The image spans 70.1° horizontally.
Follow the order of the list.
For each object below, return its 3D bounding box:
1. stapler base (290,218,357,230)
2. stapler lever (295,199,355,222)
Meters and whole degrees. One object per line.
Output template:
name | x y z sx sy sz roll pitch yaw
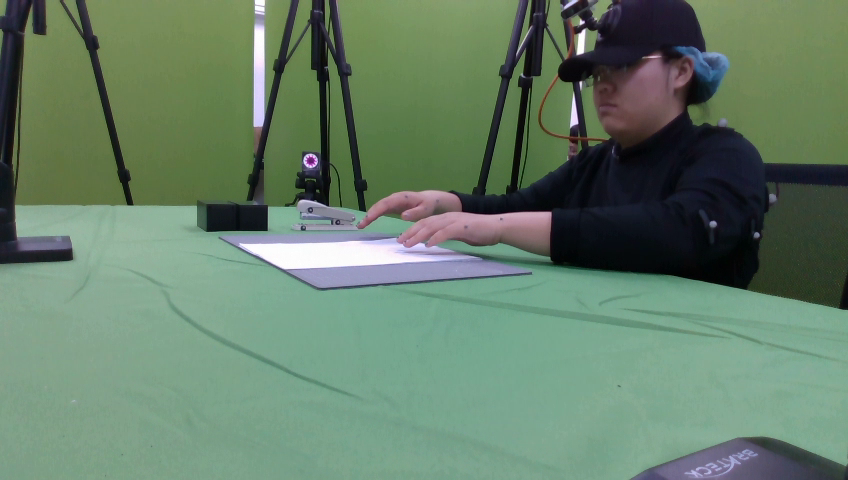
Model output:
stapler base | -0.199 -0.033 1.201 0.131 0.024 0.041 2 10 -25
stapler lever | -0.196 -0.058 1.199 0.118 0.040 0.026 2 10 -25
